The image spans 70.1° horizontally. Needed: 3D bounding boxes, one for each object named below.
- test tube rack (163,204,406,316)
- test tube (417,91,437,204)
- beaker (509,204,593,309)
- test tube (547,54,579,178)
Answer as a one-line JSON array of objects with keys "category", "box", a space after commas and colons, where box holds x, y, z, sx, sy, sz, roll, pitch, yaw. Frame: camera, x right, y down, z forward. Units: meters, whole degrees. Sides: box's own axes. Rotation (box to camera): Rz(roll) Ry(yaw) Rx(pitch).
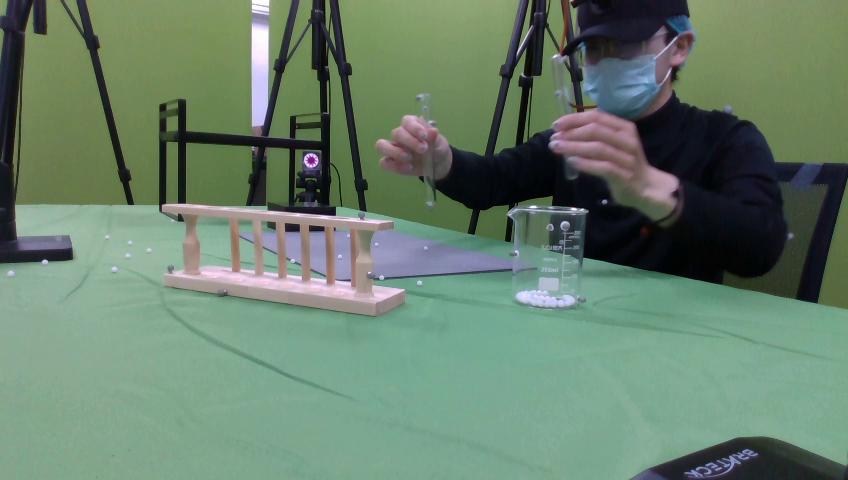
[{"category": "test tube rack", "box": [-0.141, 0.013, 0.601, 0.241, 0.085, 0.067, 5, 8, 21]}, {"category": "test tube", "box": [0.004, -0.121, 0.803, 0.017, 0.150, 0.017, -4, 15, 2]}, {"category": "beaker", "box": [0.126, 0.015, 0.613, 0.084, 0.100, 0.074, 1, 7, -5]}, {"category": "test tube", "box": [0.169, -0.149, 0.732, 0.017, 0.150, 0.017, -11, 7, 2]}]
